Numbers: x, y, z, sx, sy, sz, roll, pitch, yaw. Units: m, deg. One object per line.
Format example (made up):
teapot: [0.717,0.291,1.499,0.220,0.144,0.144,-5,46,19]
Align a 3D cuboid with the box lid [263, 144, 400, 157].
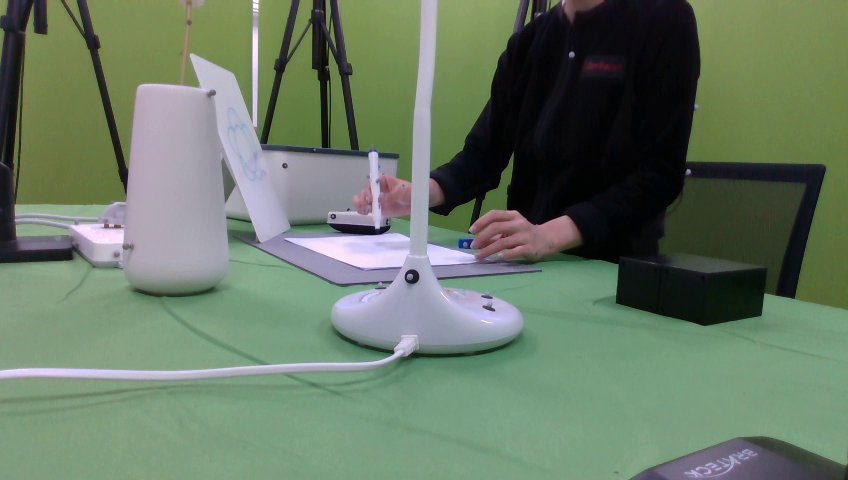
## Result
box lid: [-0.263,-0.203,1.369,0.262,0.015,0.373,9,10,39]

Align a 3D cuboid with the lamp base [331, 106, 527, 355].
lamp base: [0.006,-0.012,0.478,0.161,0.180,0.179,2,10,2]

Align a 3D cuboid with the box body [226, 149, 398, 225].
box body: [-0.265,-0.129,1.380,0.253,0.160,0.366,8,9,39]

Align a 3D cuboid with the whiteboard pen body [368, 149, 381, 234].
whiteboard pen body: [-0.078,-0.076,0.955,0.017,0.140,0.017,-4,-15,-1]

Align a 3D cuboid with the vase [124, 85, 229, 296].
vase: [-0.244,-0.047,0.598,0.098,0.200,0.098,3,8,0]

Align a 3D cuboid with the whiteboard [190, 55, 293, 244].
whiteboard: [-0.362,-0.129,1.029,0.144,0.305,0.217,-18,7,3]

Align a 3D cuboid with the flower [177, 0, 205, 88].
flower: [-0.243,-0.131,0.609,0.044,0.361,0.038,-5,-12,11]

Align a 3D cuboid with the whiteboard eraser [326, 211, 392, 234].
whiteboard eraser: [-0.121,-0.033,1.131,0.112,0.042,0.056,4,8,13]

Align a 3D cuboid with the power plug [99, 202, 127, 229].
power plug: [-0.415,-0.026,0.848,0.073,0.052,0.035,6,5,-28]

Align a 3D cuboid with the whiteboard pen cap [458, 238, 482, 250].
whiteboard pen cap: [0.066,0.006,0.861,0.033,0.018,0.018,-3,6,11]

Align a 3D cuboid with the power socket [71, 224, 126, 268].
power socket: [-0.409,0.004,0.793,0.072,0.032,0.225,-2,8,-37]
